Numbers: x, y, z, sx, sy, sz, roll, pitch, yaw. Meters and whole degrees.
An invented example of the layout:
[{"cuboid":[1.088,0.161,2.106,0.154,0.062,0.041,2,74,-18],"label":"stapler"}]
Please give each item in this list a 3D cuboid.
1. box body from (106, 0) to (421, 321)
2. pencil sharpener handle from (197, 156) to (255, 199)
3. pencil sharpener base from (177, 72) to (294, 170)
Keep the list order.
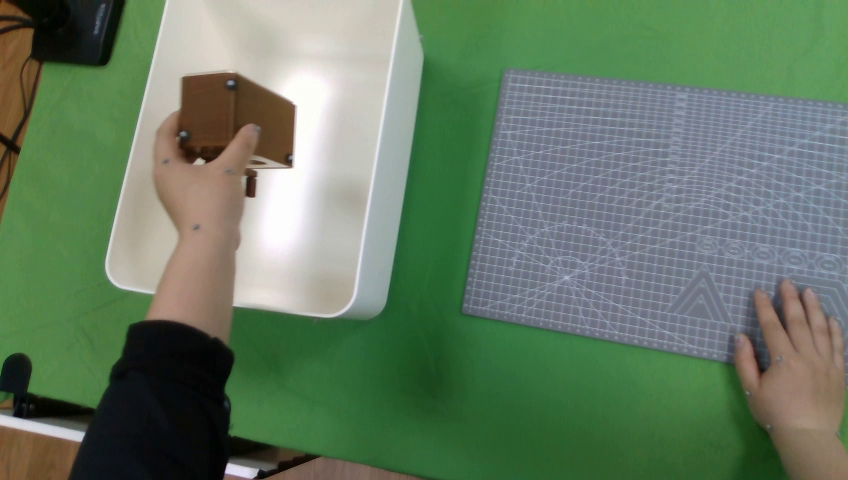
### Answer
[{"cuboid":[-0.153,-0.100,0.667,0.253,0.161,0.362,6,81,10],"label":"box body"},{"cuboid":[-0.185,-0.058,0.575,0.036,0.068,0.030,1,86,24],"label":"pencil sharpener handle"},{"cuboid":[-0.180,-0.108,0.590,0.061,0.107,0.076,1,86,20],"label":"pencil sharpener base"}]
